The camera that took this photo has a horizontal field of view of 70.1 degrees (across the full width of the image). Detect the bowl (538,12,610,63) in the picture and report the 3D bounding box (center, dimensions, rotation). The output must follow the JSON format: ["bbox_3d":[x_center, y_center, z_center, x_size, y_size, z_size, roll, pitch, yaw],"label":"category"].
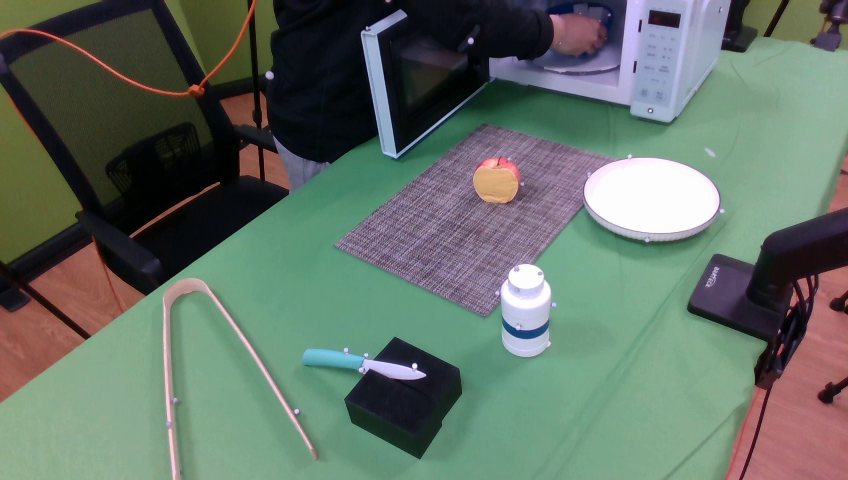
[{"bbox_3d":[0.325,-0.432,1.302,0.151,0.077,0.151,-10,30,6],"label":"bowl"}]

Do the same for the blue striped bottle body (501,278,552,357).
[{"bbox_3d":[0.130,0.089,0.769,0.063,0.121,0.063,-4,40,4],"label":"blue striped bottle body"}]

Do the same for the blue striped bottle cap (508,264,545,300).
[{"bbox_3d":[0.125,0.050,0.735,0.044,0.021,0.044,-6,39,5],"label":"blue striped bottle cap"}]

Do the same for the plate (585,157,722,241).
[{"bbox_3d":[0.367,-0.063,0.979,0.207,0.039,0.206,-4,40,4],"label":"plate"}]

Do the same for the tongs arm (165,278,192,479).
[{"bbox_3d":[-0.313,0.181,0.789,0.051,0.026,0.381,-20,41,-13],"label":"tongs arm"}]

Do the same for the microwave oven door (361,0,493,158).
[{"bbox_3d":[0.022,-0.353,1.183,0.039,0.245,0.357,21,48,30],"label":"microwave oven door"}]

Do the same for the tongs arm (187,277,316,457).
[{"bbox_3d":[-0.240,0.153,0.814,0.028,0.028,0.384,-32,45,-20],"label":"tongs arm"}]

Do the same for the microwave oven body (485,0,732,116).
[{"bbox_3d":[0.377,-0.463,1.267,0.438,0.261,0.327,21,49,30],"label":"microwave oven body"}]

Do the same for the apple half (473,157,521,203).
[{"bbox_3d":[0.128,-0.106,1.030,0.080,0.075,0.053,4,38,19],"label":"apple half"}]

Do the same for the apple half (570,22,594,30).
[{"bbox_3d":[0.332,-0.446,1.296,0.081,0.033,0.081,-20,31,13],"label":"apple half"}]

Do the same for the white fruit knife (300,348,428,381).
[{"bbox_3d":[-0.079,0.154,0.748,0.206,0.027,0.016,1,20,34],"label":"white fruit knife"}]

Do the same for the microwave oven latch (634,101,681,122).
[{"bbox_3d":[0.446,-0.250,1.158,0.078,0.029,0.030,25,51,33],"label":"microwave oven latch"}]
